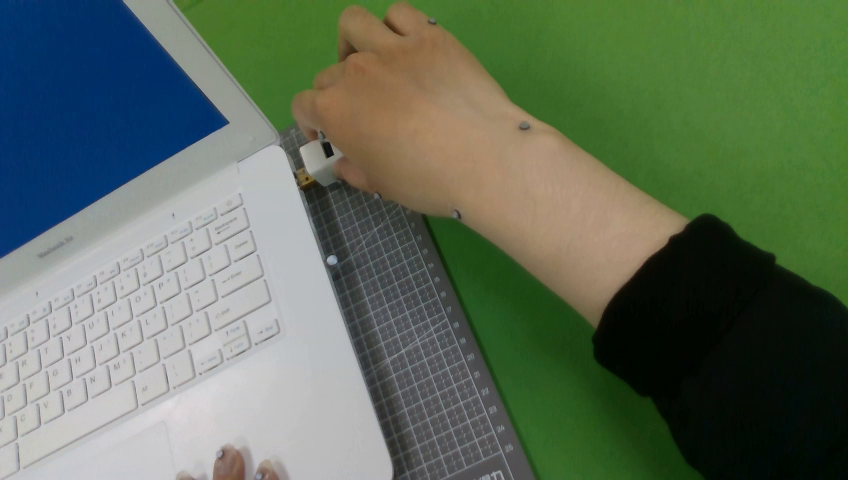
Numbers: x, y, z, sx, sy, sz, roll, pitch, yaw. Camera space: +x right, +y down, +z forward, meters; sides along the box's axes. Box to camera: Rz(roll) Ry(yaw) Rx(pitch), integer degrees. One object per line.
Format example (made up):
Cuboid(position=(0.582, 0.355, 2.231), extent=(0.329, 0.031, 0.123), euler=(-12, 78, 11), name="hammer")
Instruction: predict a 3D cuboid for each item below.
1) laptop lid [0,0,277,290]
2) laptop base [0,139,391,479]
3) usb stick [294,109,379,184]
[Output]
Cuboid(position=(-0.298, -0.059, 0.354), extent=(0.356, 0.244, 0.013), euler=(-28, 45, 9), name="laptop lid")
Cuboid(position=(-0.207, 0.106, 0.384), extent=(0.354, 0.023, 0.233), euler=(-28, 66, 8), name="laptop base")
Cuboid(position=(-0.060, -0.056, 0.383), extent=(0.059, 0.027, 0.021), euler=(-30, 70, 12), name="usb stick")
